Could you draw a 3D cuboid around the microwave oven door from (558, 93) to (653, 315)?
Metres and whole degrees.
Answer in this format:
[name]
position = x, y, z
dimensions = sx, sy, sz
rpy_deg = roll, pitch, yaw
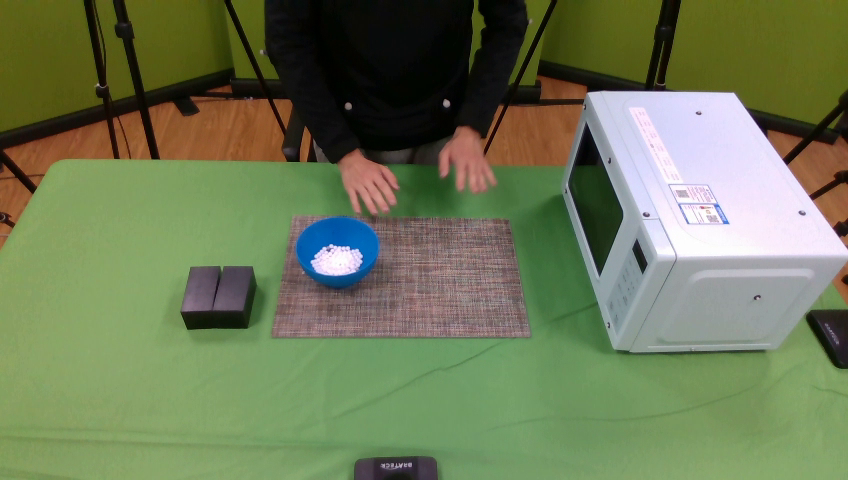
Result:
[microwave oven door]
position = 0.327, -0.074, 1.123
dimensions = 0.039, 0.245, 0.353
rpy_deg = -1, 46, -5

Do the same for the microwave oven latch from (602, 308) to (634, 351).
[microwave oven latch]
position = 0.332, 0.153, 1.044
dimensions = 0.030, 0.029, 0.078
rpy_deg = -1, 45, -4

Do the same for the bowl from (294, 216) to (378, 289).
[bowl]
position = -0.158, 0.036, 1.110
dimensions = 0.151, 0.077, 0.150
rpy_deg = 3, 45, -2

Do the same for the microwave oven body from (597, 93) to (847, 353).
[microwave oven body]
position = 0.475, -0.041, 1.109
dimensions = 0.326, 0.261, 0.438
rpy_deg = -1, 45, -4
